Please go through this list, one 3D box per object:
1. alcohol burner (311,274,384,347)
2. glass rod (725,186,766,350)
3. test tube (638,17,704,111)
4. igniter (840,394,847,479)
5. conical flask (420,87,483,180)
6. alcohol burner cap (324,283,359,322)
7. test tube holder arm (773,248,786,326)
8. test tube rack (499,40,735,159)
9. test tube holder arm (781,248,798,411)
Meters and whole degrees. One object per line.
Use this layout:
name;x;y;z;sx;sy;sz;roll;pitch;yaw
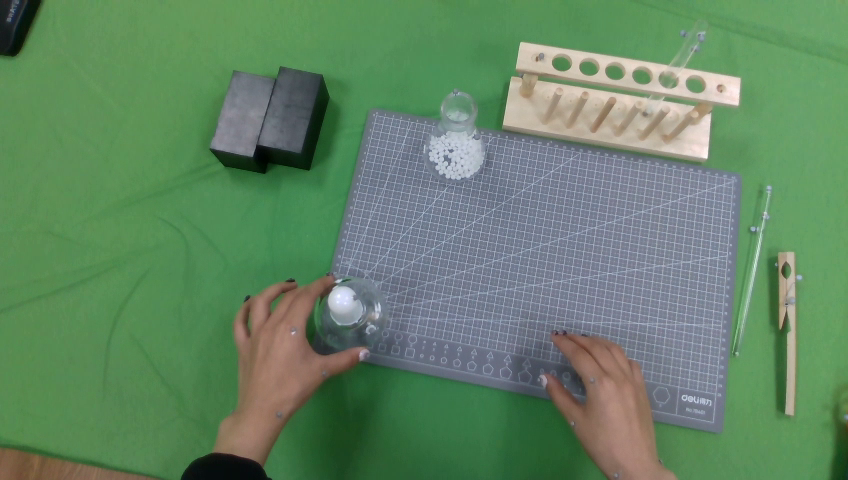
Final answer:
alcohol burner;-0.081;0.069;0.620;0.078;0.120;0.077;0;74;2
glass rod;0.367;0.030;0.689;0.008;0.008;0.199;18;79;4
test tube;0.262;-0.184;0.652;0.017;0.151;0.017;0;70;0
igniter;0.481;0.158;0.648;0.057;0.025;0.275;21;77;-5
conical flask;0.032;-0.120;0.664;0.075;0.122;0.075;0;75;0
alcohol burner cap;-0.081;0.058;0.586;0.034;0.048;0.033;1;67;-1
test tube holder arm;0.399;0.053;0.680;0.010;0.015;0.087;-5;73;36
test tube rack;0.215;-0.159;0.697;0.242;0.085;0.066;10;76;2
test tube holder arm;0.401;0.096;0.665;0.013;0.015;0.177;-7;72;36
